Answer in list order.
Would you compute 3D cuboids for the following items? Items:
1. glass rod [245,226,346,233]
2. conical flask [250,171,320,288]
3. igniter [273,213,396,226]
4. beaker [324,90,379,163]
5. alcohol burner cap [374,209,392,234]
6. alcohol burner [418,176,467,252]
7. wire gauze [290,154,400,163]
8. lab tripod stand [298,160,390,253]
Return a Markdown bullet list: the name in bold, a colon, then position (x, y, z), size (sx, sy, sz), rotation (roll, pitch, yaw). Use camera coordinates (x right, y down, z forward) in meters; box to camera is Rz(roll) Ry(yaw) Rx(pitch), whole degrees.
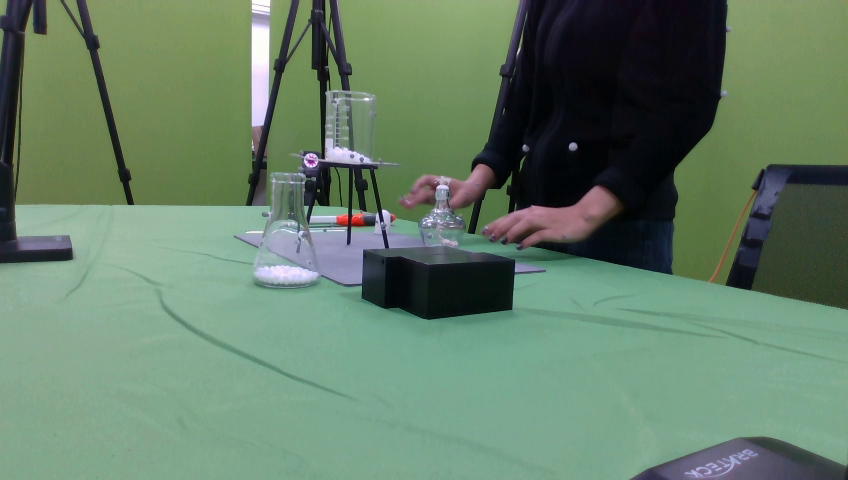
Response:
- **glass rod**: position (-0.236, -0.021, 1.140), size (0.201, 0.008, 0.008), rotation (-3, 8, -33)
- **conical flask**: position (-0.150, -0.013, 0.658), size (0.075, 0.122, 0.075), rotation (2, 7, 0)
- **igniter**: position (-0.179, -0.044, 1.258), size (0.278, 0.025, 0.057), rotation (-3, -1, -39)
- **beaker**: position (-0.110, -0.162, 0.879), size (0.083, 0.100, 0.074), rotation (8, 7, 36)
- **alcohol burner cap**: position (-0.078, -0.036, 1.148), size (0.034, 0.048, 0.034), rotation (2, 7, 0)
- **alcohol burner**: position (0.029, -0.042, 0.953), size (0.078, 0.119, 0.078), rotation (1, 6, 0)
- **wire gauze**: position (-0.112, -0.114, 0.883), size (0.124, 0.011, 0.122), rotation (5, 5, 28)
- **lab tripod stand**: position (-0.111, -0.050, 0.893), size (0.148, 0.131, 0.148), rotation (4, 6, 0)
